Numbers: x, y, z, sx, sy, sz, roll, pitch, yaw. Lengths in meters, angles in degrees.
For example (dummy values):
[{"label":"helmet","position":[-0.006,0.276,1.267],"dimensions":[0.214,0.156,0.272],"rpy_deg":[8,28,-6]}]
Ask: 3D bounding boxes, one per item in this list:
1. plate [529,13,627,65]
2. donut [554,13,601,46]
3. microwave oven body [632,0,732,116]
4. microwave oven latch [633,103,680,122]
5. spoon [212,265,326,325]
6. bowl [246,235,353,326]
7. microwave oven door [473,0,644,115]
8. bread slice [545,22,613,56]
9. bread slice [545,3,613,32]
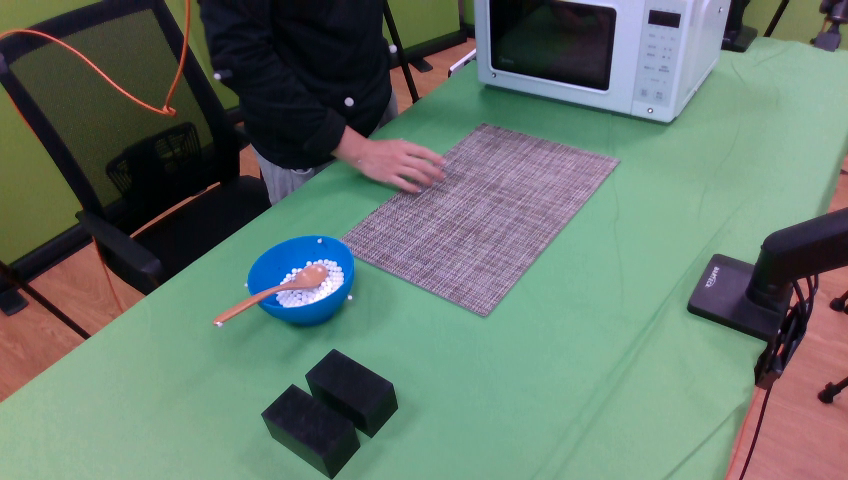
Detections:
[{"label":"plate","position":[0.333,-0.434,1.317],"dimensions":[0.207,0.039,0.206],"rpy_deg":[-5,43,5]},{"label":"donut","position":[0.328,-0.452,1.296],"dimensions":[0.099,0.048,0.098],"rpy_deg":[-5,46,6]},{"label":"microwave oven body","position":[0.377,-0.463,1.267],"dimensions":[0.438,0.261,0.327],"rpy_deg":[21,49,30]},{"label":"microwave oven latch","position":[0.443,-0.249,1.158],"dimensions":[0.078,0.029,0.030],"rpy_deg":[21,49,30]},{"label":"spoon","position":[-0.208,0.072,0.822],"dimensions":[0.041,0.021,0.195],"rpy_deg":[27,29,27]},{"label":"bowl","position":[-0.170,0.070,0.868],"dimensions":[0.151,0.077,0.150],"rpy_deg":[-4,41,4]},{"label":"microwave oven door","position":[0.257,-0.396,1.199],"dimensions":[0.353,0.245,0.039],"rpy_deg":[21,48,29]},{"label":"bread slice","position":[0.340,-0.440,1.313],"dimensions":[0.135,0.018,0.106],"rpy_deg":[-11,49,-8]},{"label":"bread slice","position":[0.331,-0.475,1.281],"dimensions":[0.131,0.019,0.104],"rpy_deg":[-9,37,1]}]
